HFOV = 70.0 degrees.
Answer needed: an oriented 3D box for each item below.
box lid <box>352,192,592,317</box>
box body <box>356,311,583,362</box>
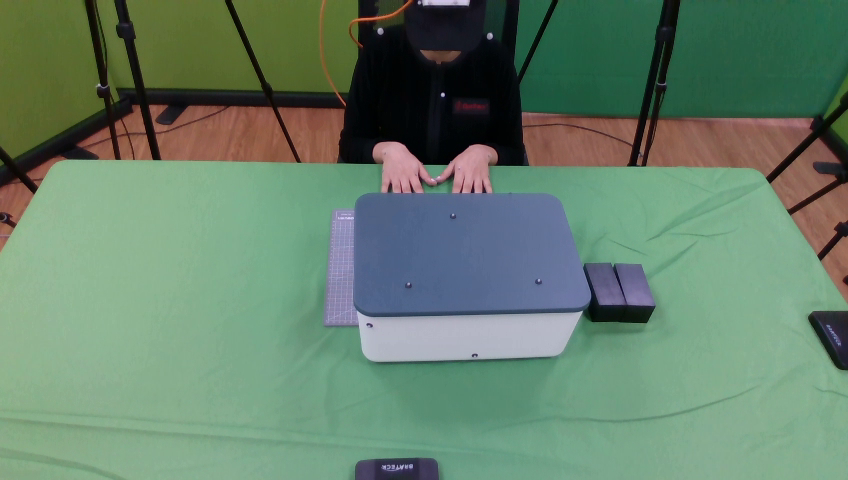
[{"bbox_3d":[0.071,0.014,0.986,0.372,0.015,0.261,-1,47,-5],"label":"box lid"},{"bbox_3d":[0.065,0.066,1.040,0.364,0.161,0.252,-1,46,-5],"label":"box body"}]
